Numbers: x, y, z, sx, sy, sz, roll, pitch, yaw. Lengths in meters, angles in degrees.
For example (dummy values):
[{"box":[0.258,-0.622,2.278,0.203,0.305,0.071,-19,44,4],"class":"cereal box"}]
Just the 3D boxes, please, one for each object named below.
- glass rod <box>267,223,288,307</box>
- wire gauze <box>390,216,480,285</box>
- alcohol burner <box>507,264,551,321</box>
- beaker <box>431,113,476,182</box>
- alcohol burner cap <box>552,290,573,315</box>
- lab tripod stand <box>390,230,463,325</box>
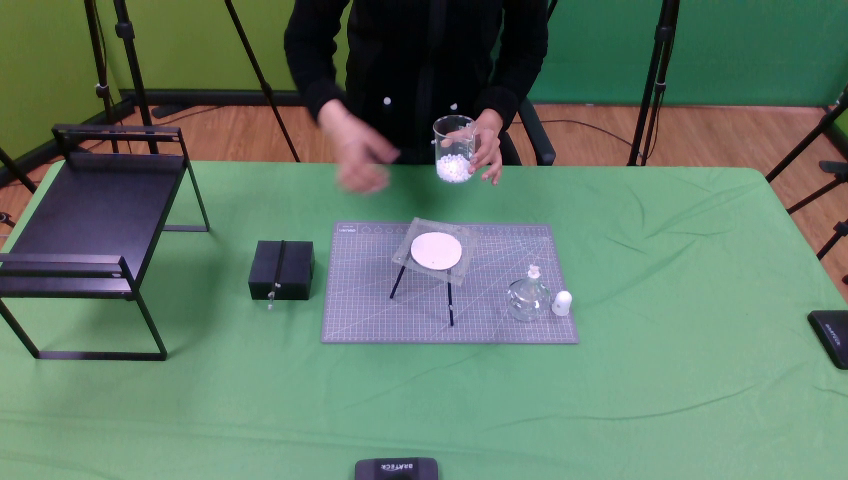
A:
[{"box":[-0.259,0.041,1.080,0.008,0.008,0.198,2,46,-2],"class":"glass rod"},{"box":[0.020,0.012,1.009,0.125,0.011,0.121,16,47,12],"class":"wire gauze"},{"box":[0.185,0.086,1.056,0.078,0.120,0.077,1,47,0],"class":"alcohol burner"},{"box":[0.054,-0.156,1.045,0.074,0.101,0.083,-27,48,-24],"class":"beaker"},{"box":[0.251,0.109,1.088,0.034,0.048,0.033,2,47,-2],"class":"alcohol burner cap"},{"box":[0.014,0.060,1.056,0.148,0.132,0.147,1,48,-1],"class":"lab tripod stand"}]
